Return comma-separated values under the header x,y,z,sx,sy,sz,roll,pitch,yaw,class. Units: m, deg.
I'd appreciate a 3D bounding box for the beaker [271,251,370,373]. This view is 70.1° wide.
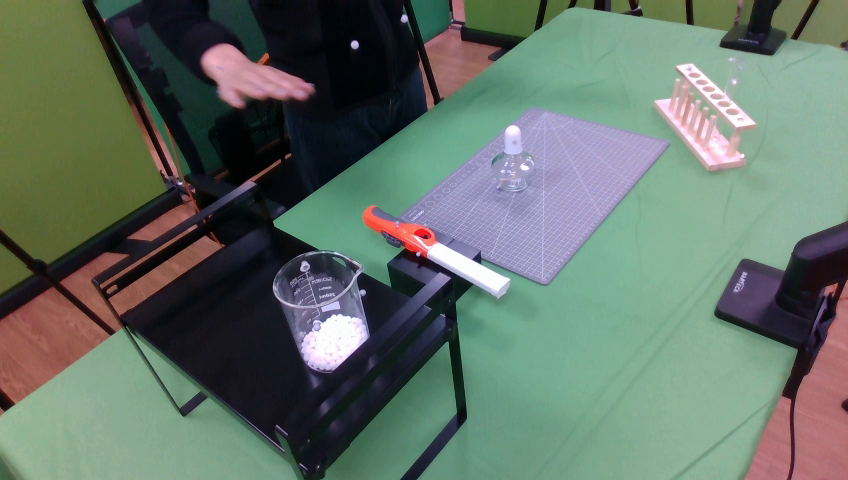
x,y,z,sx,sy,sz,roll,pitch,yaw,class
-0.090,0.069,0.571,0.084,0.101,0.073,-19,42,-13,beaker

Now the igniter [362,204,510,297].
x,y,z,sx,sy,sz,roll,pitch,yaw,class
0.006,0.009,0.887,0.274,0.025,0.057,29,50,32,igniter

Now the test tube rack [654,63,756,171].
x,y,z,sx,sy,sz,roll,pitch,yaw,class
0.510,-0.233,1.120,0.067,0.085,0.241,-8,41,-1,test tube rack

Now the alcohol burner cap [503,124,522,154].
x,y,z,sx,sy,sz,roll,pitch,yaw,class
0.151,-0.173,1.022,0.034,0.048,0.033,-4,36,3,alcohol burner cap

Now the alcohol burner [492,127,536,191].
x,y,z,sx,sy,sz,roll,pitch,yaw,class
0.155,-0.146,1.046,0.078,0.119,0.077,-4,43,4,alcohol burner

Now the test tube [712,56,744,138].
x,y,z,sx,sy,sz,roll,pitch,yaw,class
0.530,-0.246,1.056,0.017,0.151,0.017,-1,39,1,test tube
